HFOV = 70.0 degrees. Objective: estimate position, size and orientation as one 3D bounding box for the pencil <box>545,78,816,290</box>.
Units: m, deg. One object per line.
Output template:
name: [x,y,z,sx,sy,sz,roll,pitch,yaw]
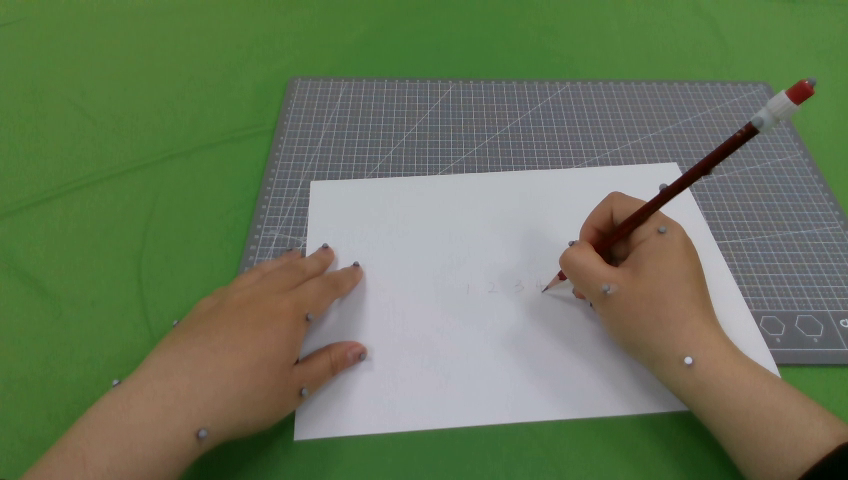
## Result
pencil: [0.131,-0.020,0.347,0.012,0.194,0.012,21,46,-23]
